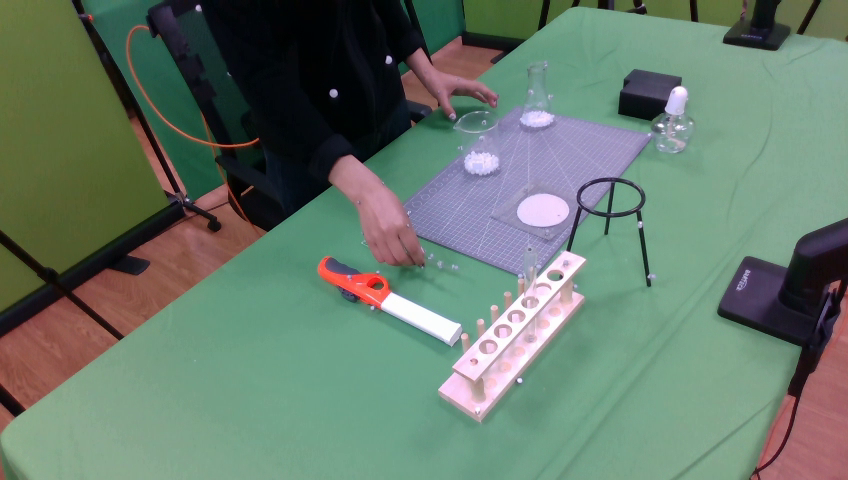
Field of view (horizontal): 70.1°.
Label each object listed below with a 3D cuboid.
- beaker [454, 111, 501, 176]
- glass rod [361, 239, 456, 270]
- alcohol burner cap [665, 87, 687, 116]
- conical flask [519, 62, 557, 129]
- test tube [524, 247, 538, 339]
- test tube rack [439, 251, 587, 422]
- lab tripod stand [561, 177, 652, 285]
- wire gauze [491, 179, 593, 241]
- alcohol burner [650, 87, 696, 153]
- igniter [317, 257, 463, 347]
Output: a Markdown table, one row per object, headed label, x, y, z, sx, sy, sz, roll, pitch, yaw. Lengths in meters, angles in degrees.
| label | x | y | z | sx | sy | sz | roll | pitch | yaw |
| --- | --- | --- | --- | --- | --- | --- | --- | --- | --- |
| beaker | 0.101 | -0.174 | 1.106 | 0.084 | 0.101 | 0.073 | -5 | 40 | 6 |
| glass rod | -0.028 | 0.022 | 0.957 | 0.198 | 0.008 | 0.008 | 15 | 46 | 38 |
| alcohol burner cap | 0.445 | -0.244 | 1.060 | 0.034 | 0.048 | 0.033 | -2 | 45 | 3 |
| conical flask | 0.225 | -0.287 | 1.198 | 0.075 | 0.122 | 0.075 | -6 | 40 | 5 |
| test tube | 0.133 | 0.070 | 0.749 | 0.017 | 0.151 | 0.017 | -5 | 38 | 4 |
| test tube rack | 0.118 | 0.111 | 0.780 | 0.066 | 0.085 | 0.243 | 26 | 51 | 34 |
| lab tripod stand | 0.263 | -0.014 | 0.864 | 0.148 | 0.132 | 0.147 | -7 | 38 | 6 |
| wire gauze | 0.198 | -0.051 | 1.014 | 0.125 | 0.011 | 0.120 | -38 | 48 | -27 |
| alcohol burner | 0.448 | -0.217 | 1.084 | 0.078 | 0.119 | 0.077 | -6 | 38 | 5 |
| igniter | -0.061 | 0.085 | 0.891 | 0.274 | 0.025 | 0.057 | 23 | 60 | 33 |
